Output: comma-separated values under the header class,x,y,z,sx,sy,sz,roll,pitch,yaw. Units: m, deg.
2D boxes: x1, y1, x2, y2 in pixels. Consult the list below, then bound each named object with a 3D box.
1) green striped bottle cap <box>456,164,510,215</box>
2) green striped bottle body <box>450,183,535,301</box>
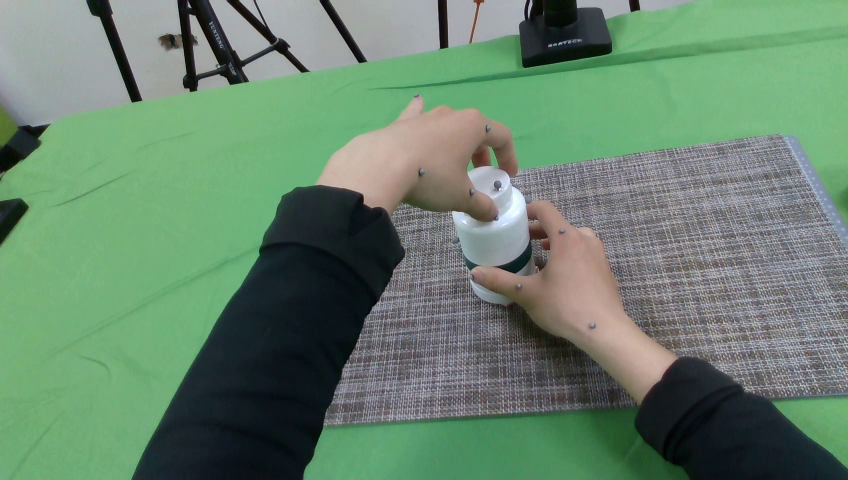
class,x,y,z,sx,sy,sz,roll,pitch,yaw
green striped bottle cap,0.048,-0.042,0.495,0.044,0.020,0.044,-8,42,8
green striped bottle body,0.060,-0.006,0.531,0.063,0.120,0.062,-9,45,10
